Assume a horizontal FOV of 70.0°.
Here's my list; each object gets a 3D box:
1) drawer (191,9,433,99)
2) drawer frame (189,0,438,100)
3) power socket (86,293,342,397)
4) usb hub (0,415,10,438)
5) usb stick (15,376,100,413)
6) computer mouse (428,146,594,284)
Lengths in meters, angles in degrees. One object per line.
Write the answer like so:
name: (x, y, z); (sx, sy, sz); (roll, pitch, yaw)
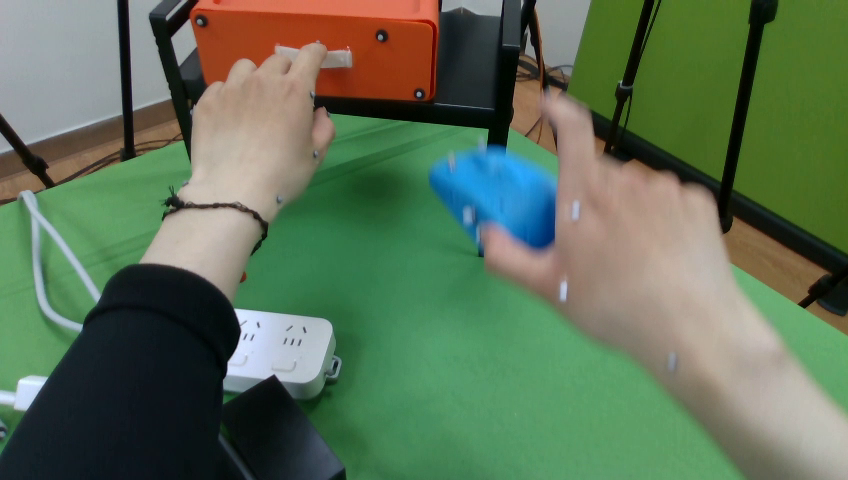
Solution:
drawer: (-0.087, -0.220, 0.579); (0.194, 0.074, 0.209); (2, 43, 0)
drawer frame: (-0.088, -0.223, 0.580); (0.202, 0.083, 0.211); (1, 43, -1)
power socket: (-0.187, 0.092, 0.541); (0.226, 0.033, 0.071); (6, 43, 4)
usb hub: (-0.402, 0.144, 0.483); (0.124, 0.025, 0.049); (15, 45, 13)
usb stick: (-0.302, 0.128, 0.502); (0.059, 0.021, 0.027); (4, 85, -20)
computer mouse: (0.053, -0.024, 0.383); (0.063, 0.041, 0.116); (-19, 49, -22)
